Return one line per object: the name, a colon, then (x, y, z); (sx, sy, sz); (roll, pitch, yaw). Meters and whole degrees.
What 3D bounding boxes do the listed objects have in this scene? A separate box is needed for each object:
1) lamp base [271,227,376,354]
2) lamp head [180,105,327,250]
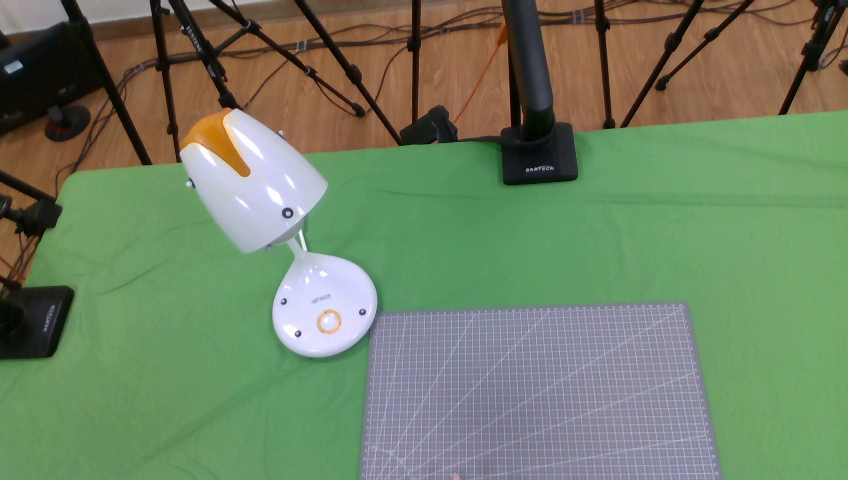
lamp base: (-0.168, 0.047, 0.849); (0.160, 0.182, 0.177); (-29, 57, -8)
lamp head: (-0.173, -0.069, 0.589); (0.112, 0.124, 0.111); (-34, 19, 14)
